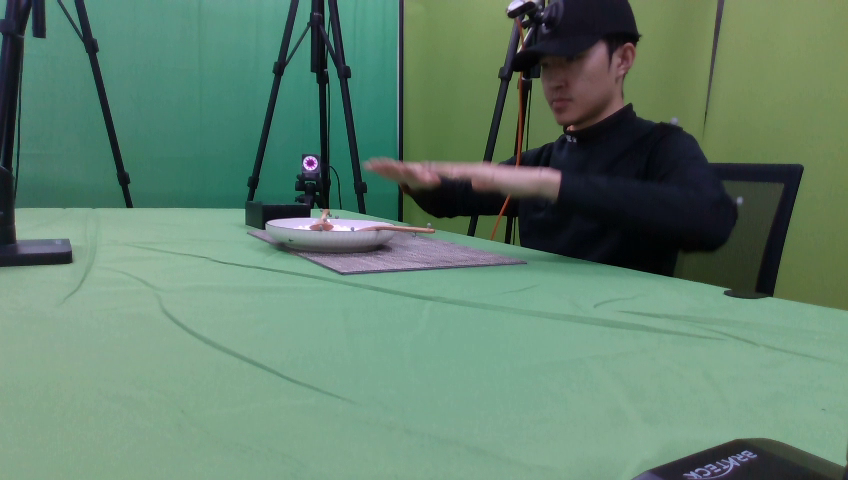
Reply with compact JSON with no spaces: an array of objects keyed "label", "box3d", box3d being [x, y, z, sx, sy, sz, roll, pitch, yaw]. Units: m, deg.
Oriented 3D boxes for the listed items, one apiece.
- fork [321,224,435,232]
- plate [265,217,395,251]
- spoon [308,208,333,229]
[{"label":"fork","box3d":[-0.076,-0.015,0.915,0.206,0.018,0.028,-4,5,28]},{"label":"plate","box3d":[-0.150,-0.011,0.978,0.209,0.038,0.209,2,7,0]},{"label":"spoon","box3d":[-0.178,-0.041,1.072,0.042,0.021,0.193,-2,15,-5]}]
